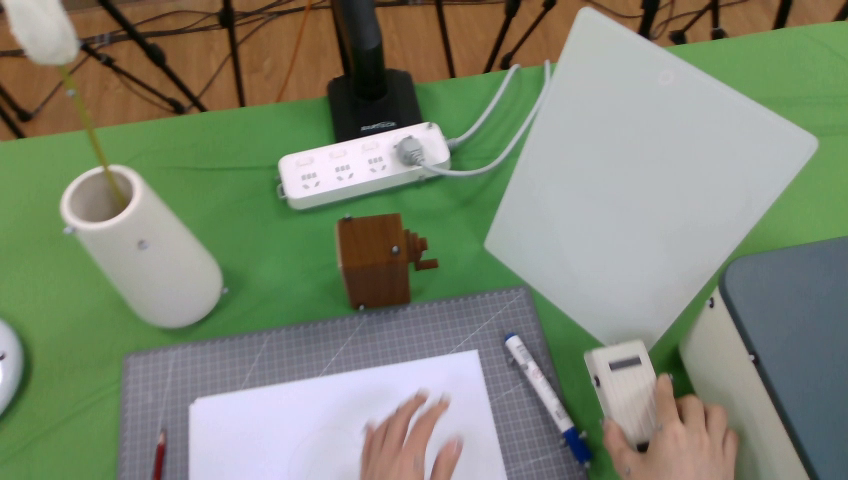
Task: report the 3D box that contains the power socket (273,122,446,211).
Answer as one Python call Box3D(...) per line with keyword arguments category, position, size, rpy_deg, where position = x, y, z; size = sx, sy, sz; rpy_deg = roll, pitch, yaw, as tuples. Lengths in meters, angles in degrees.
Box3D(category="power socket", position=(-0.079, -0.094, 0.761), size=(0.227, 0.033, 0.071), rpy_deg=(-15, 62, -9))

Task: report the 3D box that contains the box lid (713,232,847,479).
Box3D(category="box lid", position=(0.409, 0.147, 0.457), size=(0.263, 0.015, 0.367), rpy_deg=(-10, 60, -6))

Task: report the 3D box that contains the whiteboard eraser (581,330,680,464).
Box3D(category="whiteboard eraser", position=(0.187, 0.142, 0.556), size=(0.056, 0.042, 0.112), rpy_deg=(-11, 70, -10))

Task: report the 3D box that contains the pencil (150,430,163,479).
Box3D(category="pencil", position=(-0.258, 0.273, 0.559), size=(0.012, 0.012, 0.192), rpy_deg=(-4, 58, -1))

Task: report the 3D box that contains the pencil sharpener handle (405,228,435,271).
Box3D(category="pencil sharpener handle", position=(-0.003, 0.012, 0.642), size=(0.031, 0.068, 0.035), rpy_deg=(-8, 58, -4))

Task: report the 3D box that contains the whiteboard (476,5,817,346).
Box3D(category="whiteboard", position=(0.218, -0.058, 0.617), size=(0.215, 0.307, 0.144), rpy_deg=(41, 49, 22))

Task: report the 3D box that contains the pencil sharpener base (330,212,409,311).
Box3D(category="pencil sharpener base", position=(-0.054, 0.024, 0.649), size=(0.077, 0.108, 0.061), rpy_deg=(-8, 59, -4))

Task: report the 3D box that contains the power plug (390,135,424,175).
Box3D(category="power plug", position=(-0.021, -0.095, 0.735), size=(0.035, 0.053, 0.072), rpy_deg=(-6, 61, -3))

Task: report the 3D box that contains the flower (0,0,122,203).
Box3D(category="flower", position=(-0.277, -0.044, 0.541), size=(0.038, 0.365, 0.043), rpy_deg=(-20, 43, -19))

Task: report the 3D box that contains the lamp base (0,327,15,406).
Box3D(category="lamp base", position=(-0.519, 0.106, 0.560), size=(0.178, 0.182, 0.160), rpy_deg=(19, 61, 14))

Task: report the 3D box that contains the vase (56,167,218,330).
Box3D(category="vase", position=(-0.279, 0.014, 0.602), size=(0.098, 0.201, 0.097), rpy_deg=(-1, 59, 2))

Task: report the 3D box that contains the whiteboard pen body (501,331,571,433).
Box3D(category="whiteboard pen body", position=(0.119, 0.154, 0.619), size=(0.017, 0.017, 0.139), rpy_deg=(-24, 62, -13))

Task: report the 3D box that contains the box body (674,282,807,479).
Box3D(category="box body", position=(0.410, 0.188, 0.521), size=(0.254, 0.161, 0.360), rpy_deg=(-10, 60, -6))

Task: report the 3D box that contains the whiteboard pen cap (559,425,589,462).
Box3D(category="whiteboard pen cap", position=(0.145, 0.198, 0.590), size=(0.018, 0.018, 0.033), rpy_deg=(-24, 61, -13))
